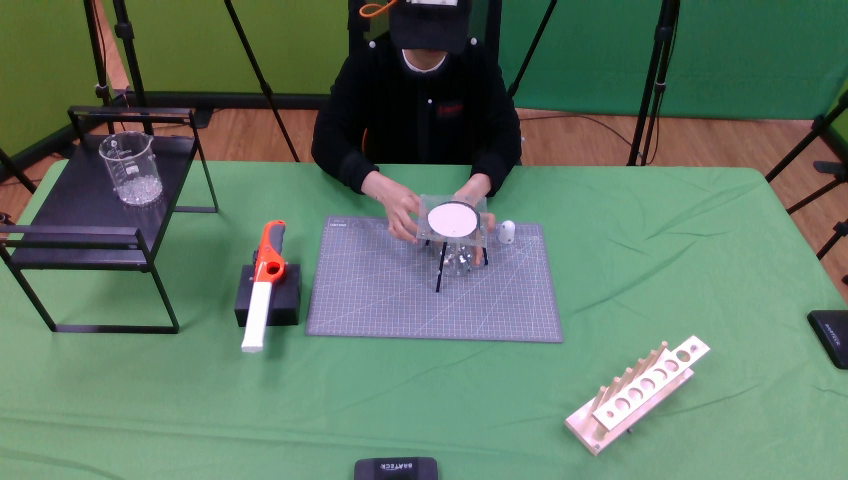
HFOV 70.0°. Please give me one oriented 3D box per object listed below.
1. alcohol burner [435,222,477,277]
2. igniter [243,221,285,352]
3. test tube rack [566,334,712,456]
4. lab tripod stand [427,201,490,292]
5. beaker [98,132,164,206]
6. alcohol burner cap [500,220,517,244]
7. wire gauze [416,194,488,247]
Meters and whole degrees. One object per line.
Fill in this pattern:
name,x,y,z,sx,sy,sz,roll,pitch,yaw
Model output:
alcohol burner,0.060,0.012,1.119,0.078,0.119,0.077,3,44,-2
igniter,-0.273,0.069,1.041,0.057,0.025,0.274,2,48,-5
test tube rack,0.339,0.228,0.950,0.242,0.085,0.066,-26,52,-26
lab tripod stand,0.053,0.003,1.114,0.148,0.132,0.147,0,46,0
beaker,-0.460,-0.112,0.968,0.073,0.101,0.084,37,54,28
alcohol burner cap,0.170,-0.018,1.205,0.034,0.048,0.033,1,46,0
wire gauze,0.050,-0.039,1.060,0.125,0.011,0.121,4,46,3
